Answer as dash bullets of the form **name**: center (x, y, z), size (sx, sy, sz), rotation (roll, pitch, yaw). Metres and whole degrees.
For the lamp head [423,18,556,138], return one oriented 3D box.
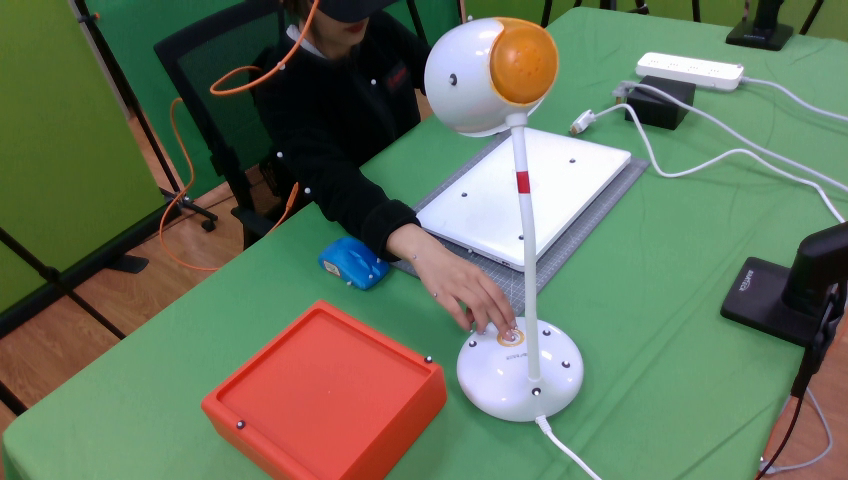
- **lamp head**: center (0.068, -0.151, 0.564), size (0.113, 0.113, 0.122), rotation (-21, 18, -13)

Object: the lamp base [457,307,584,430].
- **lamp base**: center (0.115, 0.108, 0.713), size (0.161, 0.181, 0.178), rotation (-17, 42, -8)

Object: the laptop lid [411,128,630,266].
- **laptop lid**: center (0.172, -0.093, 1.049), size (0.239, 0.013, 0.358), rotation (24, 50, 36)

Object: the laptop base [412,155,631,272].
- **laptop base**: center (0.176, -0.084, 1.055), size (0.233, 0.023, 0.355), rotation (21, 48, 36)

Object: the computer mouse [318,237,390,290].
- **computer mouse**: center (-0.112, 0.034, 0.959), size (0.116, 0.041, 0.063), rotation (28, 51, 32)

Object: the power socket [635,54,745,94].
- **power socket**: center (0.563, -0.358, 1.295), size (0.225, 0.033, 0.072), rotation (21, 49, 31)

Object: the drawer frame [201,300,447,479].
- **drawer frame**: center (-0.117, 0.193, 0.733), size (0.212, 0.083, 0.202), rotation (23, 48, 32)

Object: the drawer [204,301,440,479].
- **drawer**: center (-0.119, 0.194, 0.735), size (0.210, 0.073, 0.195), rotation (23, 49, 32)

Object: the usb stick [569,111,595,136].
- **usb stick**: center (0.309, -0.227, 1.189), size (0.059, 0.021, 0.027), rotation (-44, 13, -19)

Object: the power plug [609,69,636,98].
- **power plug**: center (0.407, -0.323, 1.232), size (0.035, 0.072, 0.052), rotation (5, 39, -34)
